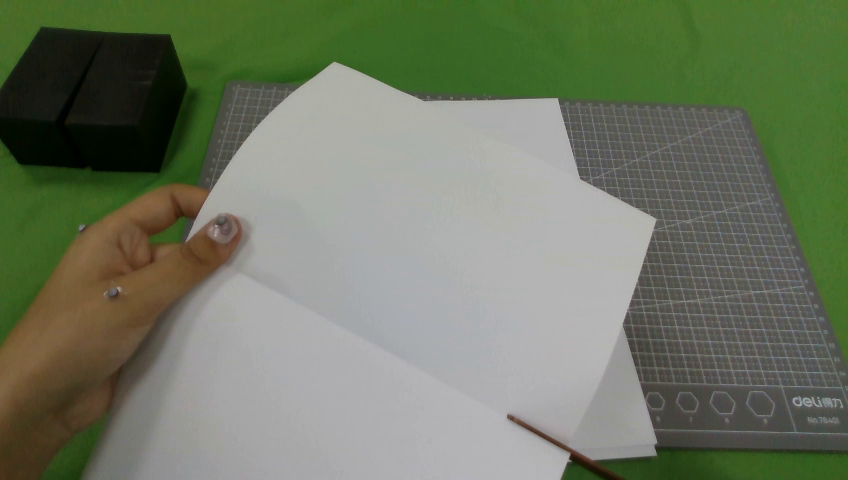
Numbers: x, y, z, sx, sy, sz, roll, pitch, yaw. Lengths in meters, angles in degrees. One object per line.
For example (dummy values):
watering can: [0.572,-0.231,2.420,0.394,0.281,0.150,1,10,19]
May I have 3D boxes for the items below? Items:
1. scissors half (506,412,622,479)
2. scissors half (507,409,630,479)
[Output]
scissors half: [0.112,0.115,0.247,0.174,0.040,0.013,27,71,17]
scissors half: [0.112,0.121,0.266,0.175,0.040,0.013,32,77,0]
